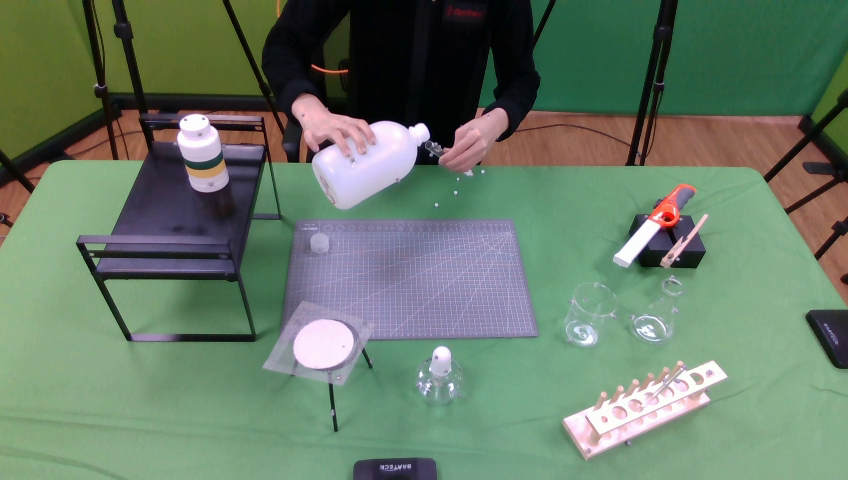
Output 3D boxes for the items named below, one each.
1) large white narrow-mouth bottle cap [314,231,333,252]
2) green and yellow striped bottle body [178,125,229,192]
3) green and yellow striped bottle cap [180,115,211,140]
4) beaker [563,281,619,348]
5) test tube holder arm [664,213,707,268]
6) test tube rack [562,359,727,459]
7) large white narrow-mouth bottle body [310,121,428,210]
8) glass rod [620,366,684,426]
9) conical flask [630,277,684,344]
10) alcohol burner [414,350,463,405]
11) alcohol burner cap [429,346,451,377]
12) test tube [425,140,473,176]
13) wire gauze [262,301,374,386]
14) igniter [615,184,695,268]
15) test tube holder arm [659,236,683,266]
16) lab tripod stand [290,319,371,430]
[{"bbox_3d":[-0.195,0.003,1.178,0.038,0.024,0.037,2,45,-2],"label":"large white narrow-mouth bottle cap"},{"bbox_3d":[-0.361,-0.142,0.989,0.063,0.120,0.063,2,46,-2],"label":"green and yellow striped bottle body"},{"bbox_3d":[-0.358,-0.177,0.951,0.045,0.020,0.045,2,45,-2],"label":"green and yellow striped bottle cap"},{"bbox_3d":[0.283,0.129,1.041,0.074,0.101,0.083,11,46,6],"label":"beaker"},{"bbox_3d":[0.507,-0.001,1.171,0.013,0.015,0.178,34,54,26],"label":"test tube holder arm"},{"bbox_3d":[0.341,0.247,0.940,0.243,0.085,0.066,-16,49,-18],"label":"test tube rack"},{"bbox_3d":[-0.078,-0.134,0.976,0.194,0.102,0.101,-32,56,-18],"label":"large white narrow-mouth bottle body"},{"bbox_3d":[0.323,0.227,0.866,0.008,0.200,0.008,5,51,-7],"label":"glass rod"},{"bbox_3d":[0.408,0.117,1.045,0.075,0.122,0.075,2,46,-2],"label":"conical flask"},{"bbox_3d":[0.023,0.205,0.939,0.078,0.120,0.077,1,48,-1],"label":"alcohol burner"},{"bbox_3d":[0.026,0.180,0.912,0.034,0.048,0.033,1,47,-1],"label":"alcohol burner cap"},{"bbox_3d":[0.047,-0.145,1.083,0.017,0.151,0.017,-11,70,32],"label":"test tube"},{"bbox_3d":[-0.150,0.148,0.873,0.121,0.011,0.124,14,46,12],"label":"wire gauze"},{"bbox_3d":[0.459,-0.035,1.196,0.057,0.025,0.276,33,55,27],"label":"igniter"},{"bbox_3d":[0.472,0.020,1.149,0.010,0.015,0.088,35,54,27],"label":"test tube holder arm"},{"bbox_3d":[-0.146,0.194,0.923,0.148,0.132,0.147,1,47,-1],"label":"lab tripod stand"}]
